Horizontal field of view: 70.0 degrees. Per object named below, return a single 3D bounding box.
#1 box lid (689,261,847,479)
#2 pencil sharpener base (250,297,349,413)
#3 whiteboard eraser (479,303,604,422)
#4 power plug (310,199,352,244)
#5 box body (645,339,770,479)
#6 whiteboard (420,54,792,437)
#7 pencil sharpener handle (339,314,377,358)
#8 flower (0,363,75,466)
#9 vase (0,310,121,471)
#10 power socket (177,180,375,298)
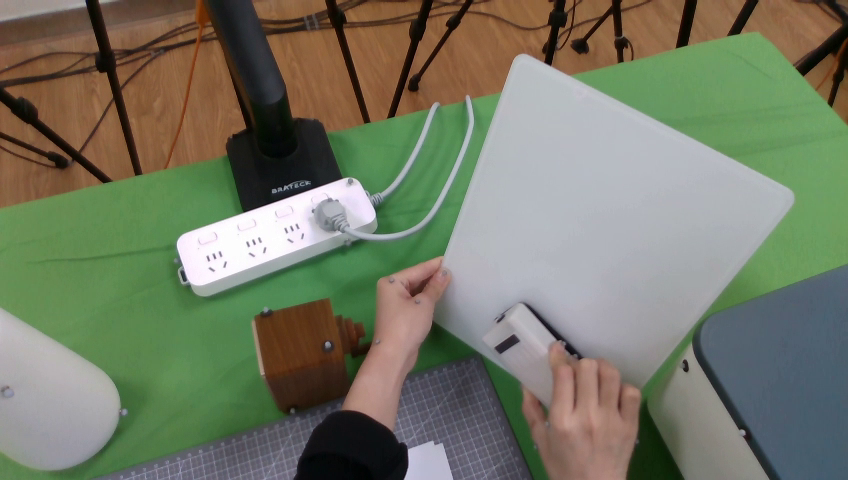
[{"bbox_3d":[0.387,0.175,0.428,0.264,0.015,0.367,-16,60,-14],"label":"box lid"},{"bbox_3d":[-0.109,0.108,0.560,0.077,0.108,0.061,-13,59,-12],"label":"pencil sharpener base"},{"bbox_3d":[0.108,0.111,0.556,0.112,0.056,0.042,46,40,2],"label":"whiteboard eraser"},{"bbox_3d":[-0.100,-0.012,0.651,0.035,0.053,0.072,-12,61,-10],"label":"power plug"},{"bbox_3d":[0.384,0.217,0.490,0.254,0.161,0.360,-17,61,-13],"label":"box body"},{"bbox_3d":[0.155,-0.004,0.565,0.216,0.307,0.143,33,43,17],"label":"whiteboard"},{"bbox_3d":[-0.059,0.090,0.560,0.031,0.068,0.035,-13,59,-12],"label":"pencil sharpener handle"},{"bbox_3d":[-0.323,0.060,0.426,0.038,0.365,0.043,-27,45,-26],"label":"flower"},{"bbox_3d":[-0.326,0.119,0.486,0.098,0.201,0.097,1,58,-1],"label":"vase"},{"bbox_3d":[-0.160,-0.004,0.670,0.227,0.033,0.071,-21,62,-16],"label":"power socket"}]
